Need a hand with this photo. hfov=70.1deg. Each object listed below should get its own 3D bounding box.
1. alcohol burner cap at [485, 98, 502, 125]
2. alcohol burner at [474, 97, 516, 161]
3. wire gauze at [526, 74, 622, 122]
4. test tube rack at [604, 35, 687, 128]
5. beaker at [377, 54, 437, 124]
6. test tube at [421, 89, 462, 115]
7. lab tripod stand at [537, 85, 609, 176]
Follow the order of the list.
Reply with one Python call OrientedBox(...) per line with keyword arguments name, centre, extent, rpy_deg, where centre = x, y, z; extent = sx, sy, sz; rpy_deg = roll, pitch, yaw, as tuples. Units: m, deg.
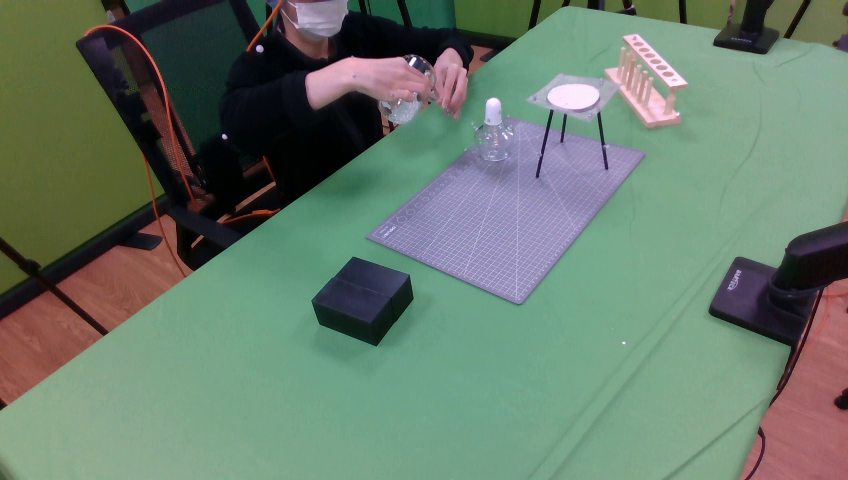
OrientedBox(name="alcohol burner cap", centre=(0.126, -0.234, 1.097), extent=(0.034, 0.048, 0.033), rpy_deg=(-3, 39, 3))
OrientedBox(name="alcohol burner", centre=(0.131, -0.208, 1.121), extent=(0.078, 0.119, 0.077), rpy_deg=(-6, 40, 5))
OrientedBox(name="wire gauze", centre=(0.255, -0.248, 1.030), extent=(0.124, 0.011, 0.122), rpy_deg=(24, 51, 32))
OrientedBox(name="test tube rack", centre=(0.447, -0.330, 1.241), extent=(0.067, 0.085, 0.241), rpy_deg=(-9, 41, -2))
OrientedBox(name="beaker", centre=(-0.029, -0.252, 1.029), extent=(0.073, 0.084, 0.100), rpy_deg=(5, 53, 32))
OrientedBox(name="test tube", centre=(0.035, -0.259, 1.145), extent=(0.017, 0.017, 0.151), rpy_deg=(19, 6, 27))
OrientedBox(name="lab tripod stand", centre=(0.259, -0.192, 1.068), extent=(0.148, 0.132, 0.147), rpy_deg=(-4, 42, 4))
